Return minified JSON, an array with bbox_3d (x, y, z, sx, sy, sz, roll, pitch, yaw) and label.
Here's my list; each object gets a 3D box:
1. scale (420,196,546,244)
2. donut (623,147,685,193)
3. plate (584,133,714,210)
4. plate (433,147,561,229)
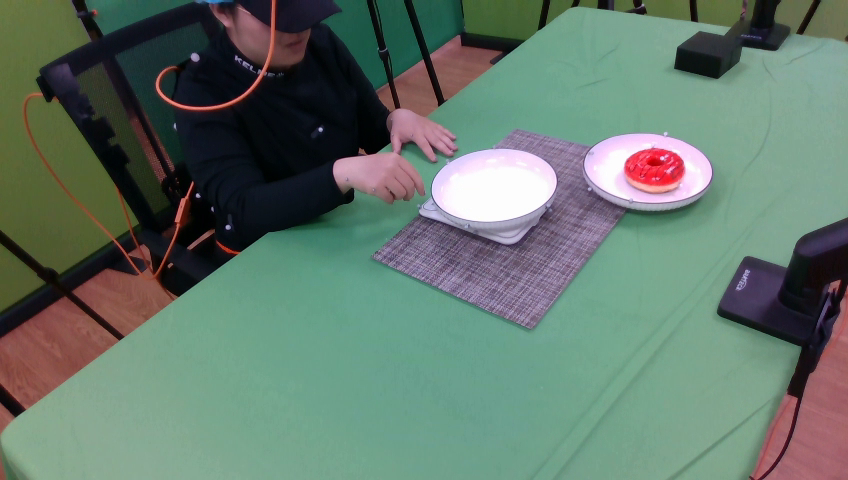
[{"bbox_3d":[0.106,-0.064,1.029,0.199,0.032,0.149,21,48,32],"label":"scale"},{"bbox_3d":[0.388,-0.119,1.019,0.099,0.048,0.098,-4,42,4],"label":"donut"},{"bbox_3d":[0.379,-0.113,1.030,0.209,0.038,0.208,-4,41,4],"label":"plate"},{"bbox_3d":[0.120,-0.082,0.996,0.207,0.039,0.206,-6,40,5],"label":"plate"}]
